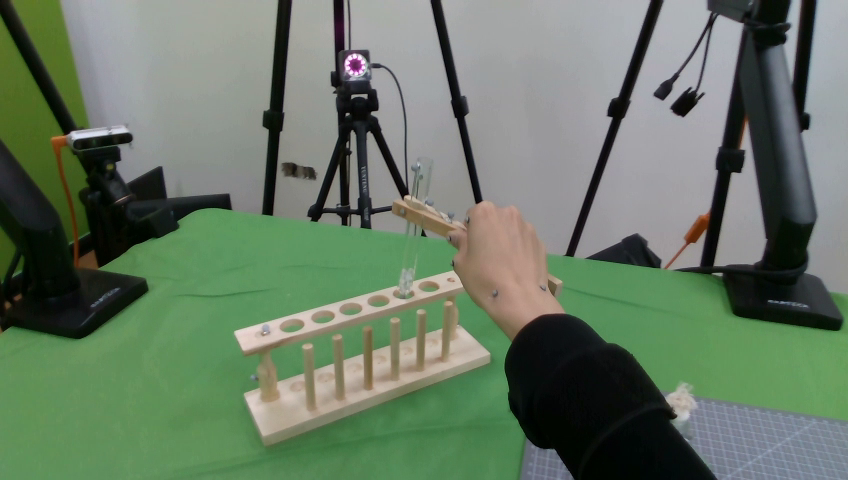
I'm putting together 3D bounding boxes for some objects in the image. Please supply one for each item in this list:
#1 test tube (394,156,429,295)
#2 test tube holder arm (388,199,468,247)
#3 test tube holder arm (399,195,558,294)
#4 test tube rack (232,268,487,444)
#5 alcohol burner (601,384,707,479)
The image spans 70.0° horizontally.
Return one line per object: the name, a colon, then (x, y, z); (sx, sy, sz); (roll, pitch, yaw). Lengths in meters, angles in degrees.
test tube: (-0.013, -0.009, 0.572); (0.017, 0.151, 0.017); (7, 33, -4)
test tube holder arm: (0.004, -0.016, 0.546); (0.087, 0.015, 0.010); (24, 34, 27)
test tube holder arm: (0.041, 0.000, 0.527); (0.177, 0.015, 0.013); (30, 38, 33)
test tube rack: (-0.054, 0.106, 0.597); (0.243, 0.086, 0.066); (-14, 30, -27)
alcohol burner: (0.177, 0.159, 0.459); (0.078, 0.120, 0.077); (1, 25, 0)
